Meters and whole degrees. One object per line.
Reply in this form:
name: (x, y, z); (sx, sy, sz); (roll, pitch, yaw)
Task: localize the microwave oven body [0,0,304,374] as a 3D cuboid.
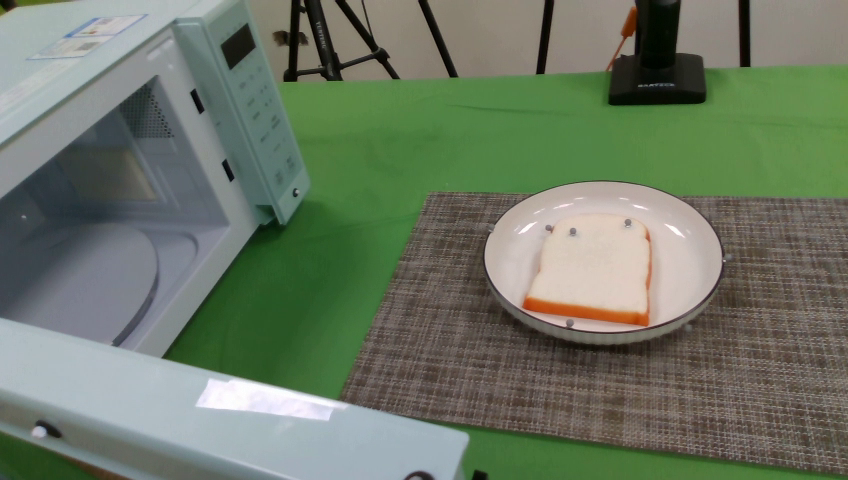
microwave oven body: (-0.367, -0.019, 0.571); (0.325, 0.263, 0.438); (3, 42, 18)

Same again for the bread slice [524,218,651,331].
bread slice: (0.155, 0.026, 0.560); (0.104, 0.019, 0.130); (5, 43, 19)

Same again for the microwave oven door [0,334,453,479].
microwave oven door: (-0.132, 0.138, 0.310); (0.354, 0.246, 0.039); (7, 43, 22)

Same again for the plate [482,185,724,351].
plate: (0.158, 0.024, 0.557); (0.209, 0.038, 0.207); (-7, 39, 7)

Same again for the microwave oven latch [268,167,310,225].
microwave oven latch: (-0.162, -0.053, 0.713); (0.030, 0.030, 0.078); (4, 43, 18)
